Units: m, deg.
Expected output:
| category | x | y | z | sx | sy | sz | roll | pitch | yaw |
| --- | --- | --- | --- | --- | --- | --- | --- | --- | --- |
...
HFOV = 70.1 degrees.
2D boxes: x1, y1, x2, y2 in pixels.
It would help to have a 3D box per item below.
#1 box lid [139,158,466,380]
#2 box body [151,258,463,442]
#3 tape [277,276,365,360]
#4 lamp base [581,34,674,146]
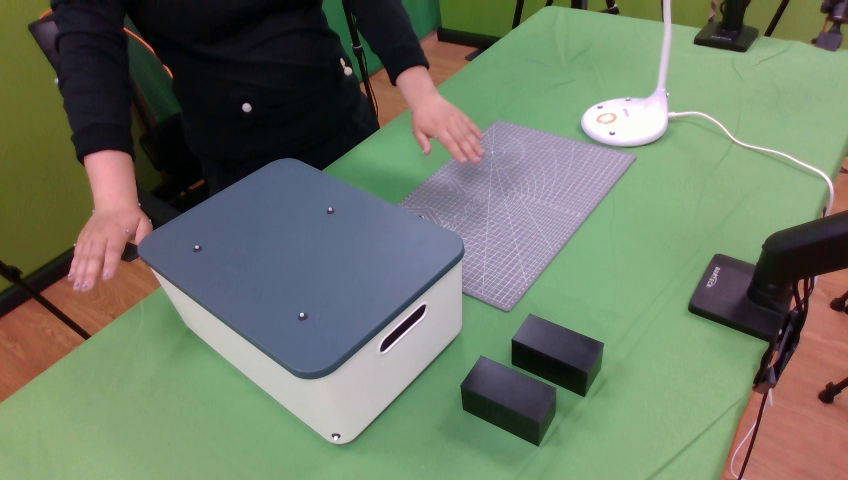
| category | x | y | z | sx | sy | sz | roll | pitch | yaw |
| --- | --- | --- | --- | --- | --- | --- | --- | --- | --- |
| box lid | -0.158 | 0.010 | 0.757 | 0.368 | 0.015 | 0.264 | 26 | 50 | 33 |
| box body | -0.152 | 0.064 | 0.807 | 0.361 | 0.161 | 0.255 | 26 | 51 | 33 |
| tape | -0.140 | 0.106 | 0.832 | 0.117 | 0.053 | 0.116 | -4 | 41 | 4 |
| lamp base | 0.392 | -0.291 | 1.129 | 0.180 | 0.181 | 0.159 | -11 | 41 | -8 |
